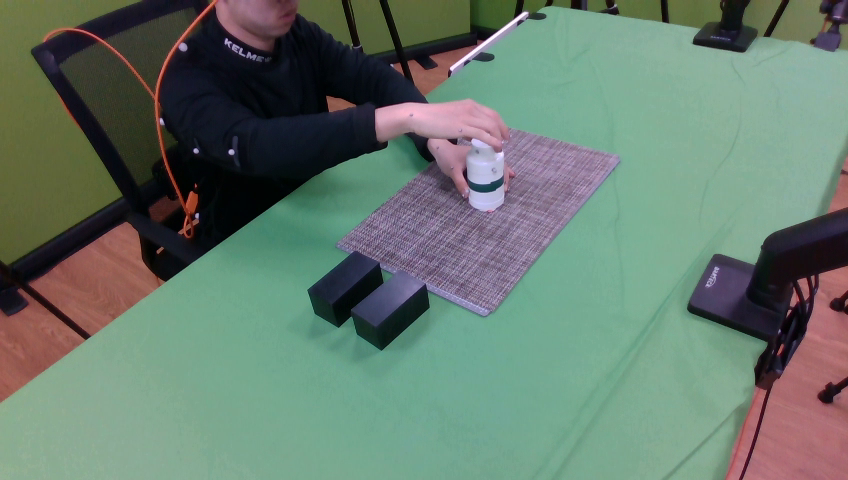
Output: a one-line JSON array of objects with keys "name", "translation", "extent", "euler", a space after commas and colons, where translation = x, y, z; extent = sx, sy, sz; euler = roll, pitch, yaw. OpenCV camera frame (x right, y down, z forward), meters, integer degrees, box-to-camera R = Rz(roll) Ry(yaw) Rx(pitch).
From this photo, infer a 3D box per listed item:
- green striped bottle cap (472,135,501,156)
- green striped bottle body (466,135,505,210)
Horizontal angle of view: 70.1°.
[{"name": "green striped bottle cap", "translation": [0.100, -0.151, 0.971], "extent": [0.044, 0.020, 0.044], "euler": [-12, 29, 8]}, {"name": "green striped bottle body", "translation": [0.103, -0.113, 1.005], "extent": [0.063, 0.120, 0.063], "euler": [-4, 41, 4]}]
